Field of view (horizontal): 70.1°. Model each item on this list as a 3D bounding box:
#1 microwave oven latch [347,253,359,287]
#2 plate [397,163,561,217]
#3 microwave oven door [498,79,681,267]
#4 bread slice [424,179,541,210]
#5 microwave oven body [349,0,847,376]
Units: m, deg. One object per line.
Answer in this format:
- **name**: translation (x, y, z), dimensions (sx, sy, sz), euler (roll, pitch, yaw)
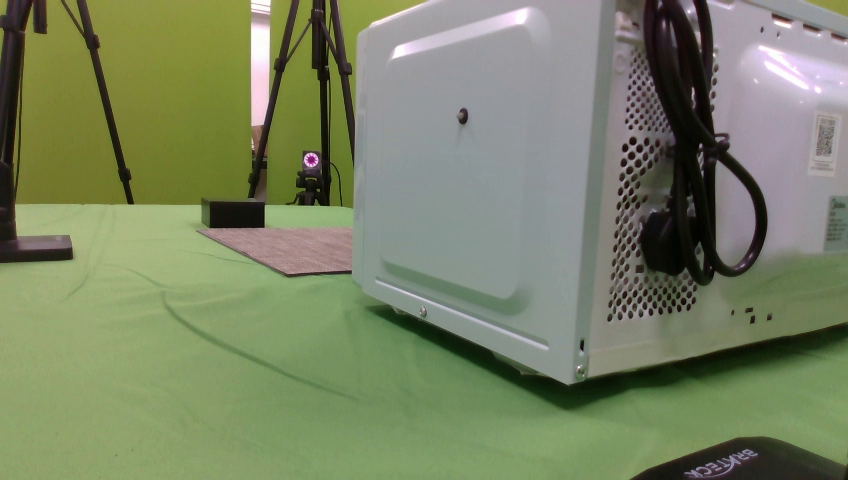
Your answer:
- **microwave oven latch**: translation (-0.034, 0.028, 0.581), dimensions (0.079, 0.029, 0.030), euler (-1, 7, -31)
- **plate**: translation (0.066, -0.061, 0.762), dimensions (0.209, 0.038, 0.209), euler (10, 5, -1)
- **microwave oven door**: translation (0.230, -0.106, 0.924), dimensions (0.039, 0.243, 0.354), euler (-1, 8, -26)
- **bread slice**: translation (0.068, -0.058, 0.759), dimensions (0.132, 0.019, 0.104), euler (8, 5, -23)
- **microwave oven body**: translation (0.199, -0.053, 0.540), dimensions (0.444, 0.260, 0.324), euler (-1, 7, -32)
